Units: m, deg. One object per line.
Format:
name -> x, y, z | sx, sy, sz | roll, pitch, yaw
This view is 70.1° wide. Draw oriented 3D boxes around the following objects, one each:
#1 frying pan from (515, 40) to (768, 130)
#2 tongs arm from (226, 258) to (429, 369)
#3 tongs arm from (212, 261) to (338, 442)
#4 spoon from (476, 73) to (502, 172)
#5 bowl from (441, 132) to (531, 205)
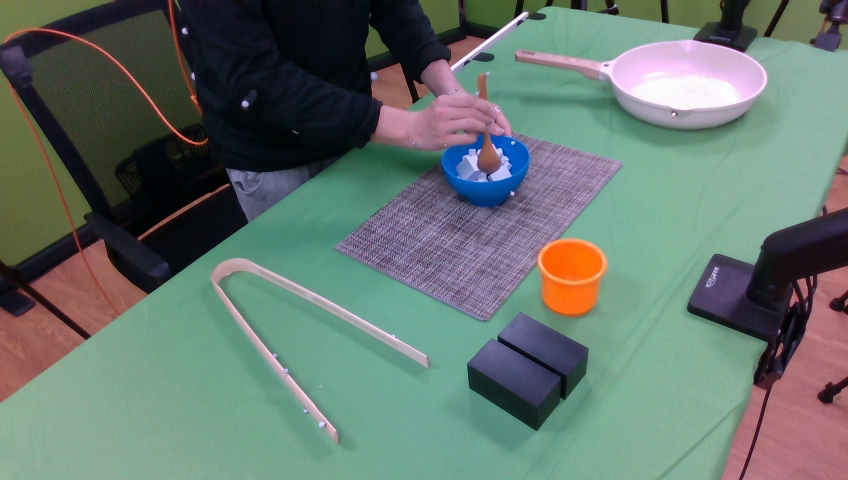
frying pan -> 0.423, -0.338, 1.236 | 0.486, 0.103, 0.307 | 16, 44, 13
tongs arm -> -0.150, 0.098, 0.873 | 0.384, 0.028, 0.028 | 22, 50, 30
tongs arm -> -0.208, 0.136, 0.830 | 0.051, 0.026, 0.381 | -31, 45, -28
spoon -> 0.094, -0.174, 0.930 | 0.041, 0.195, 0.021 | -3, 46, 9
bowl -> 0.107, -0.112, 1.033 | 0.151, 0.077, 0.150 | -4, 41, 4
